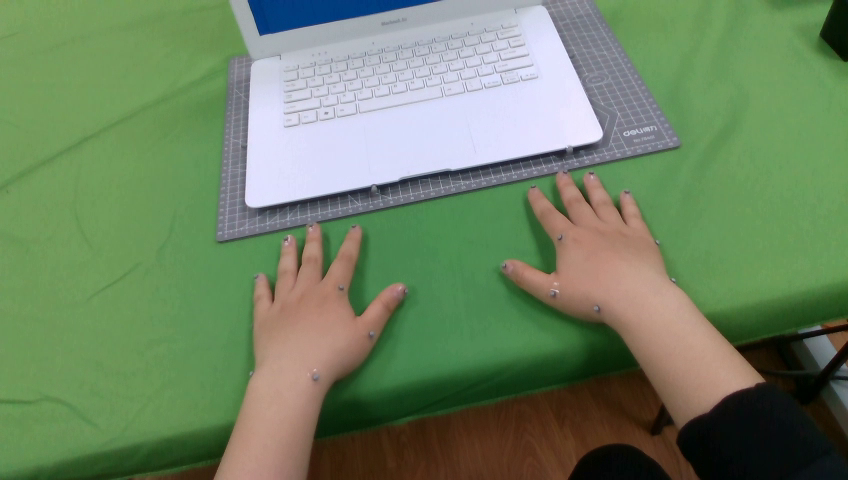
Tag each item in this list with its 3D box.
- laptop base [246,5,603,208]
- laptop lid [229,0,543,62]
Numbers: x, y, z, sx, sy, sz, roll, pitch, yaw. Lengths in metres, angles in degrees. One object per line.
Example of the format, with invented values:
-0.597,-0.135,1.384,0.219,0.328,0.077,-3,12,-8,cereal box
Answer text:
-0.014,-0.150,0.652,0.354,0.023,0.233,-11,55,1,laptop base
-0.049,-0.325,0.641,0.357,0.244,0.013,-12,44,2,laptop lid
